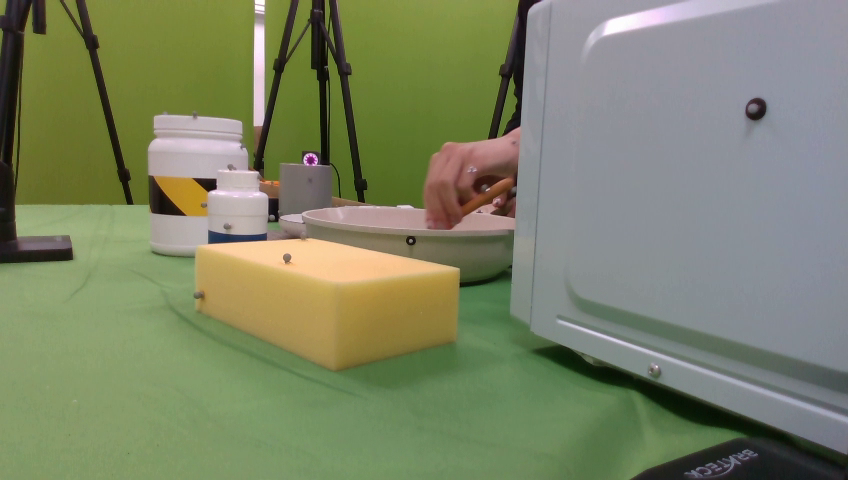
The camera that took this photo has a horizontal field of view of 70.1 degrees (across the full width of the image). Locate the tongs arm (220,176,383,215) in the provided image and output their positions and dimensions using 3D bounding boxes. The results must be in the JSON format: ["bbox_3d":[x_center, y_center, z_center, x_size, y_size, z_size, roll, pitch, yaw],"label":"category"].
[{"bbox_3d":[-0.285,-0.104,1.445,0.389,0.027,0.028,9,-4,-23],"label":"tongs arm"}]

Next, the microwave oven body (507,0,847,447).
[{"bbox_3d":[0.331,-0.042,0.425,0.444,0.260,0.324,-2,8,-31],"label":"microwave oven body"}]

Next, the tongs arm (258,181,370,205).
[{"bbox_3d":[-0.241,-0.095,1.373,0.387,0.026,0.050,9,0,-37],"label":"tongs arm"}]

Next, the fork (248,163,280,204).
[{"bbox_3d":[-0.396,-0.143,1.486,0.028,0.018,0.208,20,-26,45],"label":"fork"}]

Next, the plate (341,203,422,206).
[{"bbox_3d":[-0.089,-0.053,1.309,0.208,0.039,0.207,2,8,0],"label":"plate"}]

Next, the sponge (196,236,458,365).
[{"bbox_3d":[-0.087,0.039,0.500,0.206,0.061,0.119,8,10,44],"label":"sponge"}]

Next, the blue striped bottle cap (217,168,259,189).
[{"bbox_3d":[-0.202,-0.067,0.656,0.044,0.020,0.044,0,10,0],"label":"blue striped bottle cap"}]

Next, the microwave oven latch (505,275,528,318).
[{"bbox_3d":[0.100,0.041,0.472,0.079,0.029,0.030,-2,8,-30],"label":"microwave oven latch"}]

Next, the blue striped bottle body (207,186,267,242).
[{"bbox_3d":[-0.204,-0.016,0.663,0.063,0.120,0.063,2,7,0],"label":"blue striped bottle body"}]

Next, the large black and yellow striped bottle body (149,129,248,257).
[{"bbox_3d":[-0.315,-0.075,0.854,0.131,0.184,0.130,2,7,0],"label":"large black and yellow striped bottle body"}]

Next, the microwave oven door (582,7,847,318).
[{"bbox_3d":[0.295,-0.067,0.569,0.358,0.243,0.039,-3,8,-31],"label":"microwave oven door"}]

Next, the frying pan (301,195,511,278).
[{"bbox_3d":[0.050,-0.028,0.864,0.305,0.102,0.490,8,18,35],"label":"frying pan"}]

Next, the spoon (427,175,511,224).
[{"bbox_3d":[0.013,-0.022,0.671,0.193,0.041,0.022,-30,-15,16],"label":"spoon"}]

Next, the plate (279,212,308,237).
[{"bbox_3d":[-0.139,-0.022,1.021,0.209,0.038,0.209,2,8,0],"label":"plate"}]

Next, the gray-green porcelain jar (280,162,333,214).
[{"bbox_3d":[-0.238,-0.092,1.221,0.106,0.126,0.106,2,7,0],"label":"gray-green porcelain jar"}]

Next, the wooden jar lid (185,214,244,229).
[{"bbox_3d":[-0.404,-0.037,1.169,0.108,0.020,0.108,3,7,0],"label":"wooden jar lid"}]

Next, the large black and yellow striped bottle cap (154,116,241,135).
[{"bbox_3d":[-0.314,-0.158,0.843,0.115,0.019,0.115,3,7,0],"label":"large black and yellow striped bottle cap"}]
